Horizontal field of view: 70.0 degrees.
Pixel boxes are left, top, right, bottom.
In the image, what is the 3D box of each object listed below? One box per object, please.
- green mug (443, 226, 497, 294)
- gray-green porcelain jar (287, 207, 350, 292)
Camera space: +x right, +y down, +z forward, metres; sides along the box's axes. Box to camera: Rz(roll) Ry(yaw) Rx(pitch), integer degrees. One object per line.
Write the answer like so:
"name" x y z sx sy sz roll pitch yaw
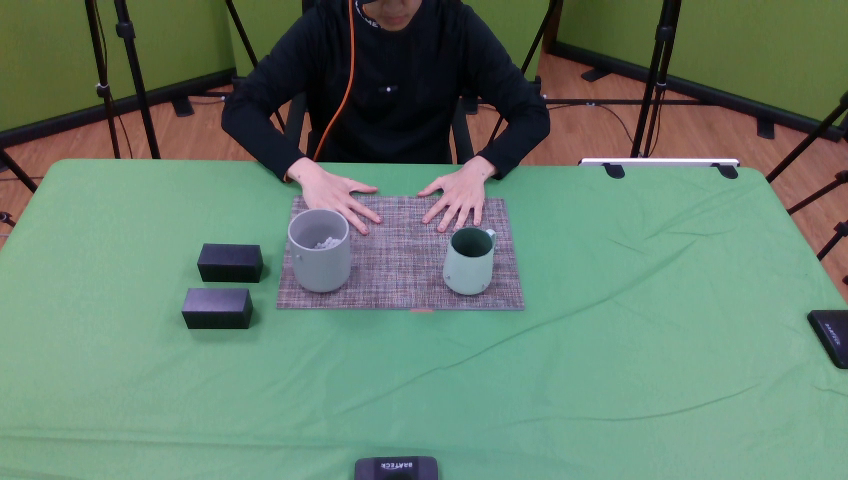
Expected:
"green mug" 0.093 0.028 1.114 0.092 0.105 0.125 31 52 23
"gray-green porcelain jar" -0.185 0.022 1.084 0.106 0.127 0.105 2 47 -2
